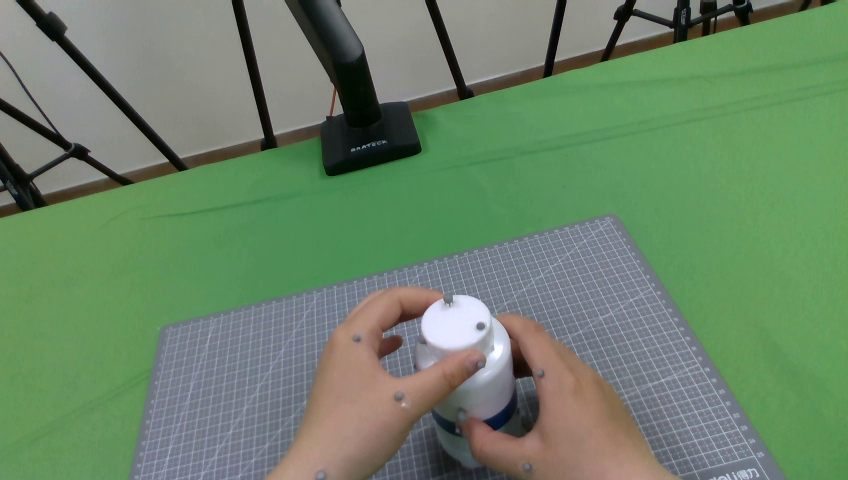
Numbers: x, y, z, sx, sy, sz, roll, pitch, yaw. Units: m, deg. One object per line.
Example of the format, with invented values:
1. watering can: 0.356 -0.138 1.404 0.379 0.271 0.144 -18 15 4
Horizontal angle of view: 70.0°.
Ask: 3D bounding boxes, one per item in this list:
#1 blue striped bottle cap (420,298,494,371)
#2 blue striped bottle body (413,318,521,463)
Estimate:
1. blue striped bottle cap: 0.020 0.057 0.370 0.044 0.021 0.044 -7 39 6
2. blue striped bottle body: 0.030 0.094 0.405 0.063 0.122 0.062 -7 43 7
